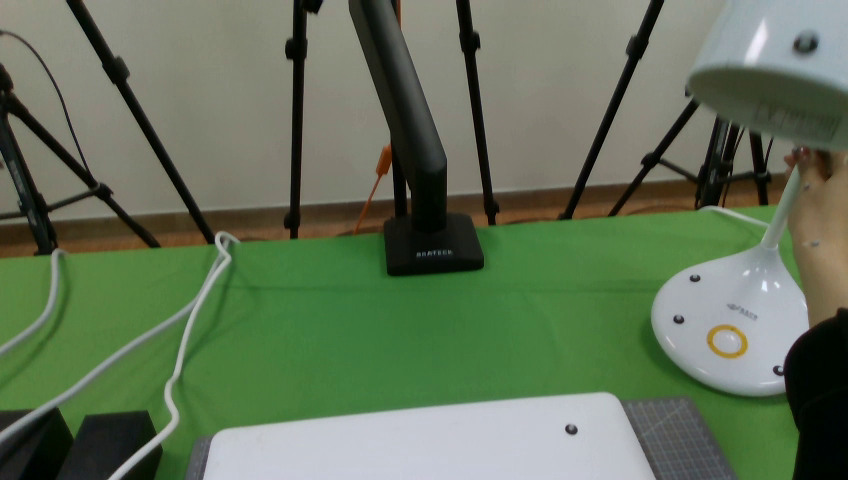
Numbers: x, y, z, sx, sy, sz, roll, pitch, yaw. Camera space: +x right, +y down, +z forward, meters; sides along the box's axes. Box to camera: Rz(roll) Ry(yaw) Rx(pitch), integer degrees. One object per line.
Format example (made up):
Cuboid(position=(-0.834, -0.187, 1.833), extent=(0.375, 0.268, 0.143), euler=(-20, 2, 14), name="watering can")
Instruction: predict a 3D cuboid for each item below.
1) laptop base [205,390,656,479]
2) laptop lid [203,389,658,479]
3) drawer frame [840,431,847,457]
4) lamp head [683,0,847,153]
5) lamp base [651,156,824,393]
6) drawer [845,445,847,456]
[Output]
Cuboid(position=(0.009, 0.220, 0.443), extent=(0.355, 0.023, 0.233), euler=(-4, 37, -5), name="laptop base")
Cuboid(position=(0.009, 0.212, 0.435), extent=(0.357, 0.013, 0.239), euler=(-3, 36, -3), name="laptop lid")
Cuboid(position=(0.486, 0.144, 0.490), extent=(0.200, 0.083, 0.214), euler=(27, 42, 36), name="drawer frame")
Cuboid(position=(0.220, -0.119, 0.330), extent=(0.112, 0.123, 0.112), euler=(25, -1, 1), name="lamp head")
Cuboid(position=(0.311, 0.021, 0.566), extent=(0.159, 0.182, 0.178), euler=(18, 47, 24), name="lamp base")
Cuboid(position=(0.485, 0.148, 0.488), extent=(0.192, 0.074, 0.212), euler=(27, 41, 37), name="drawer")
